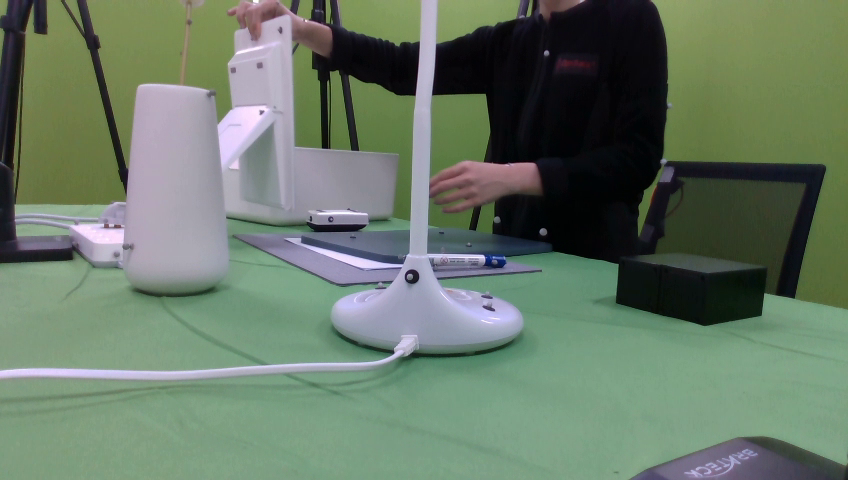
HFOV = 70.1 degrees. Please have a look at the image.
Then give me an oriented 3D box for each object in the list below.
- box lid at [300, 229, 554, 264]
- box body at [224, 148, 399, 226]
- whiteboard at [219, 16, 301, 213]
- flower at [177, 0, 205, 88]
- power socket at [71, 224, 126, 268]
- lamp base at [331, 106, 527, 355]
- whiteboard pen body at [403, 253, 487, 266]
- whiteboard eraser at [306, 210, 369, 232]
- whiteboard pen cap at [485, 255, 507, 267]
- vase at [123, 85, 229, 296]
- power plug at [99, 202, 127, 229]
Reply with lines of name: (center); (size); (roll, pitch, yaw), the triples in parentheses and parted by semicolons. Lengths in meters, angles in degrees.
box lid: (0.011, 0.006, 0.998); (0.374, 0.015, 0.262); (-3, 9, -43)
box body: (-0.264, -0.129, 1.380); (0.253, 0.160, 0.366); (8, 9, 39)
whiteboard: (-0.320, -0.200, 0.985); (0.144, 0.305, 0.216); (-8, 14, -39)
flower: (-0.243, -0.131, 0.609); (0.044, 0.361, 0.038); (-5, -12, 11)
power socket: (-0.409, 0.004, 0.793); (0.072, 0.032, 0.225); (-2, 8, -37)
lamp base: (0.006, -0.012, 0.478); (0.161, 0.180, 0.179); (2, 10, 2)
whiteboard pen body: (0.040, 0.026, 0.785); (0.141, 0.017, 0.017); (2, 7, -24)
whiteboard eraser: (-0.168, -0.037, 1.172); (0.113, 0.042, 0.055); (-3, 7, -35)
whiteboard pen cap: (0.093, 0.028, 0.809); (0.033, 0.018, 0.018); (1, 7, -24)
vase: (-0.244, -0.047, 0.598); (0.098, 0.200, 0.098); (3, 8, 0)
power plug: (-0.415, -0.026, 0.848); (0.073, 0.052, 0.035); (6, 5, -28)
